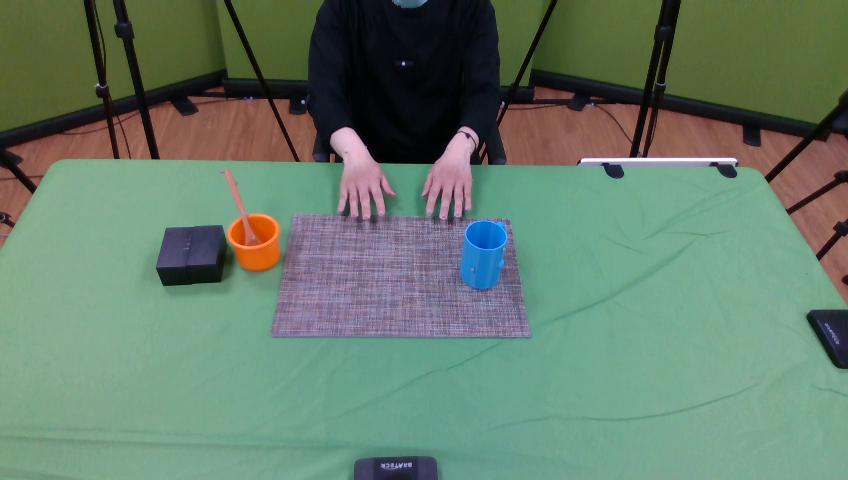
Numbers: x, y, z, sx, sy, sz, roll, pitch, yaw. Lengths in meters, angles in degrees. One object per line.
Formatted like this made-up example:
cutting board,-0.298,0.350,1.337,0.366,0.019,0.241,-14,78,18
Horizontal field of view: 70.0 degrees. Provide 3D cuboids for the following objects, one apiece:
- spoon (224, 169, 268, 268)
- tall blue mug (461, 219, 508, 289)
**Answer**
spoon,-0.333,-0.040,1.124,0.041,0.194,0.021,-18,6,-18
tall blue mug,0.111,0.016,1.122,0.078,0.108,0.106,6,46,4
